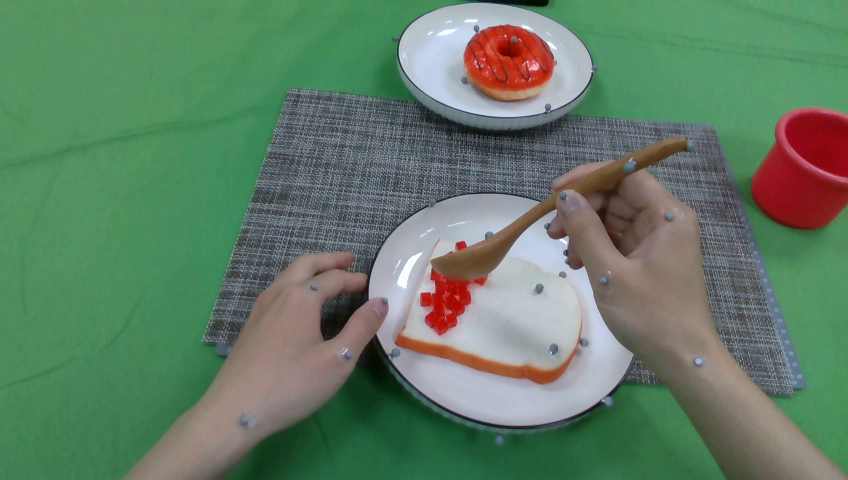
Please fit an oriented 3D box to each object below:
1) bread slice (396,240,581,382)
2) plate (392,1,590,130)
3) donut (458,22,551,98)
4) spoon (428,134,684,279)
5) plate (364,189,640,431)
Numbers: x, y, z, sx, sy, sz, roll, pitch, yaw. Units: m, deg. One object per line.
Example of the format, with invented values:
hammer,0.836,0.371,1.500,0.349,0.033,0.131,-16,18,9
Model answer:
bread slice,0.055,0.053,0.470,0.131,0.019,0.104,14,53,9
plate,0.070,-0.184,0.648,0.208,0.039,0.205,3,51,-3
donut,0.085,-0.189,0.639,0.099,0.048,0.098,3,54,-3
spoon,0.072,-0.016,0.380,0.042,0.194,0.021,22,48,-34
plate,0.058,0.049,0.469,0.209,0.038,0.207,2,53,-2
